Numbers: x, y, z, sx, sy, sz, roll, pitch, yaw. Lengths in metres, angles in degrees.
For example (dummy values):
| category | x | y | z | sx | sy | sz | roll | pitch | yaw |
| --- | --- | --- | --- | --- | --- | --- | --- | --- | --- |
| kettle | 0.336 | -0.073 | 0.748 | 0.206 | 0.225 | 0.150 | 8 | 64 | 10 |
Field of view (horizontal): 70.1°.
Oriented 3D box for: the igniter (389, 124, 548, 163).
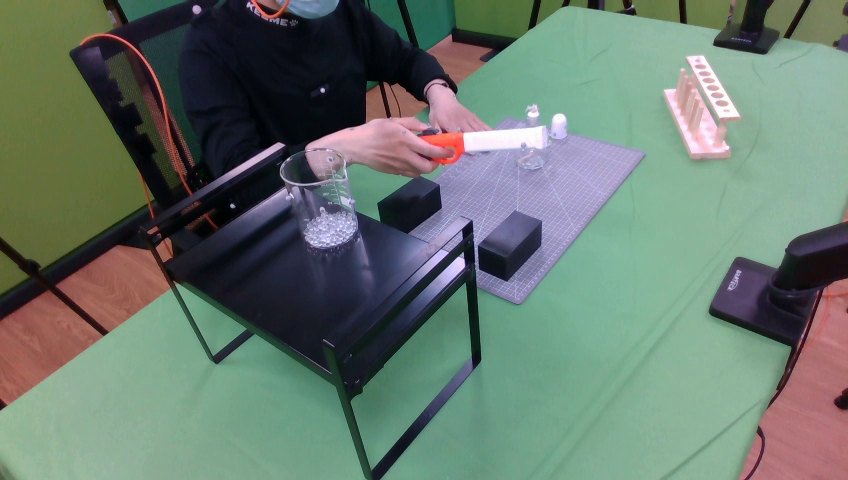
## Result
| category | x | y | z | sx | sy | sz | roll | pitch | yaw |
| --- | --- | --- | --- | --- | --- | --- | --- | --- | --- |
| igniter | 0.056 | -0.147 | 0.916 | 0.274 | 0.057 | 0.025 | 1 | 18 | 35 |

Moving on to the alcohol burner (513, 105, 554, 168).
| category | x | y | z | sx | sy | sz | roll | pitch | yaw |
| --- | --- | --- | --- | --- | --- | --- | --- | --- | --- |
| alcohol burner | 0.196 | -0.190 | 1.088 | 0.078 | 0.119 | 0.077 | -3 | 42 | 3 |

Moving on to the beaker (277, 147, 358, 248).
| category | x | y | z | sx | sy | sz | roll | pitch | yaw |
| --- | --- | --- | --- | --- | --- | --- | --- | --- | --- |
| beaker | -0.117 | -0.046 | 0.705 | 0.083 | 0.101 | 0.074 | 17 | 47 | 25 |

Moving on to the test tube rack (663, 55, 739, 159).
| category | x | y | z | sx | sy | sz | roll | pitch | yaw |
| --- | --- | --- | --- | --- | --- | --- | --- | --- | --- |
| test tube rack | 0.518 | -0.256 | 1.144 | 0.066 | 0.085 | 0.241 | -1 | 41 | 8 |

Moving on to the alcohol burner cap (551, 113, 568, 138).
| category | x | y | z | sx | sy | sz | roll | pitch | yaw |
| --- | --- | --- | --- | --- | --- | --- | --- | --- | --- |
| alcohol burner cap | 0.263 | -0.223 | 1.172 | 0.034 | 0.048 | 0.033 | -5 | 40 | 4 |
